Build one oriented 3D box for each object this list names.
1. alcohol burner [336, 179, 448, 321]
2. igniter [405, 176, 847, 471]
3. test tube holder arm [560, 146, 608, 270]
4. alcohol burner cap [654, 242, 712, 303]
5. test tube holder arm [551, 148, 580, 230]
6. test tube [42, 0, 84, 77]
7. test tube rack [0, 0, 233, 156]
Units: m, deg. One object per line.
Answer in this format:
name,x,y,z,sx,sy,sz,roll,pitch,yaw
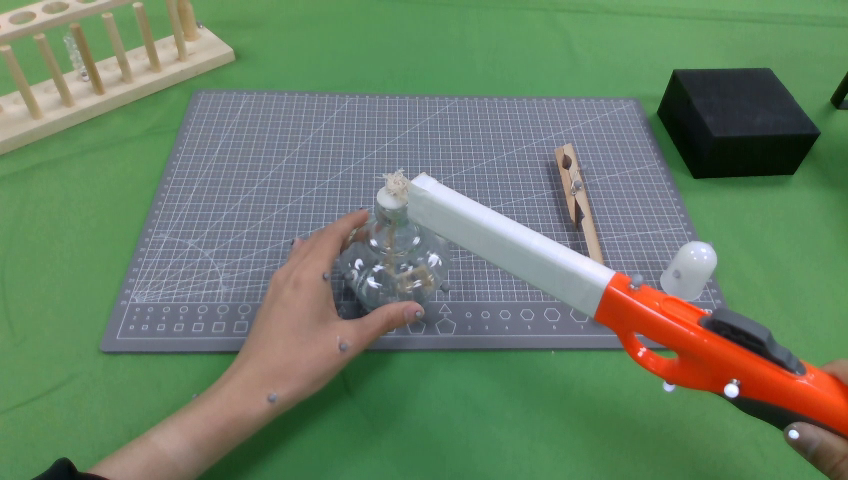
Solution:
alcohol burner,-0.022,0.002,0.411,0.078,0.120,0.077,1,51,-1
igniter,0.104,0.037,0.318,0.274,0.057,0.025,29,47,22
test tube holder arm,0.133,-0.013,0.496,0.013,0.015,0.176,-26,46,22
alcohol burner cap,0.196,0.022,0.455,0.034,0.048,0.033,2,48,-2
test tube holder arm,0.125,-0.045,0.527,0.010,0.015,0.087,-25,46,23
test tube,-0.329,-0.212,0.535,0.017,0.151,0.017,3,46,-3
test tube rack,-0.311,-0.175,0.569,0.242,0.086,0.066,-34,59,-28
